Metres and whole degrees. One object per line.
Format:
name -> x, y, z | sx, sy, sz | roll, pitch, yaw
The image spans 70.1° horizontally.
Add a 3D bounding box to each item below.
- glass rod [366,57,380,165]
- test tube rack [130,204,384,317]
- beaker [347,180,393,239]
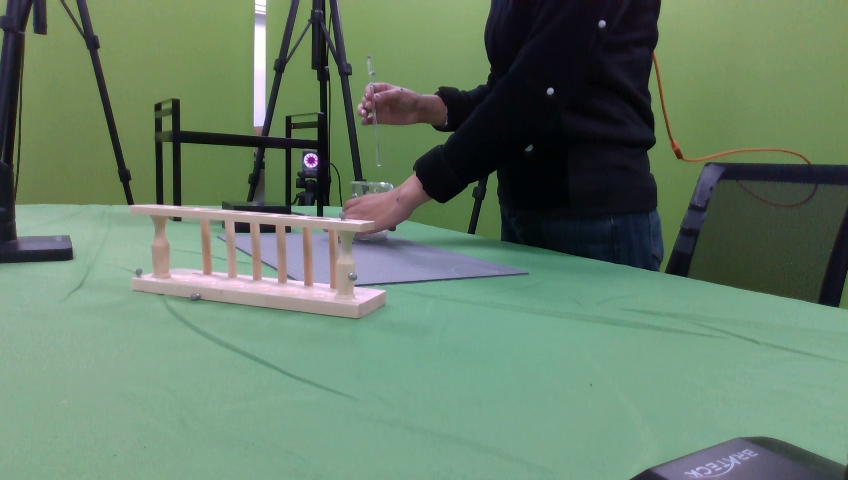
glass rod -> -0.090, -0.231, 1.082 | 0.008, 0.199, 0.008 | -6, -6, 0
test tube rack -> -0.163, 0.013, 0.589 | 0.242, 0.085, 0.067 | 5, 8, 17
beaker -> -0.095, -0.054, 1.064 | 0.084, 0.100, 0.074 | 6, 9, 21
